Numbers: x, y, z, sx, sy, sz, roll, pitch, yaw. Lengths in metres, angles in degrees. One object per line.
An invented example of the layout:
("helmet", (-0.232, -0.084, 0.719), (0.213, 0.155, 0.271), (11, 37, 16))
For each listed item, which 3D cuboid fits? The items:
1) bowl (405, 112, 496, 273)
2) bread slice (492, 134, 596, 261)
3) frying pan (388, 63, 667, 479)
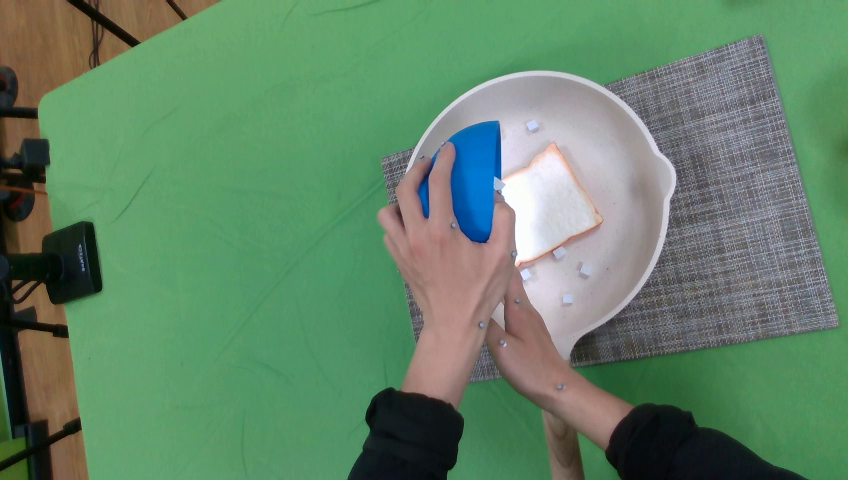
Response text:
("bowl", (0.026, -0.044, 0.570), (0.077, 0.151, 0.151), (2, 89, 8))
("bread slice", (0.115, -0.038, 0.694), (0.134, 0.018, 0.106), (-35, 76, 16))
("frying pan", (0.118, 0.059, 0.648), (0.306, 0.103, 0.485), (-11, 76, 23))
